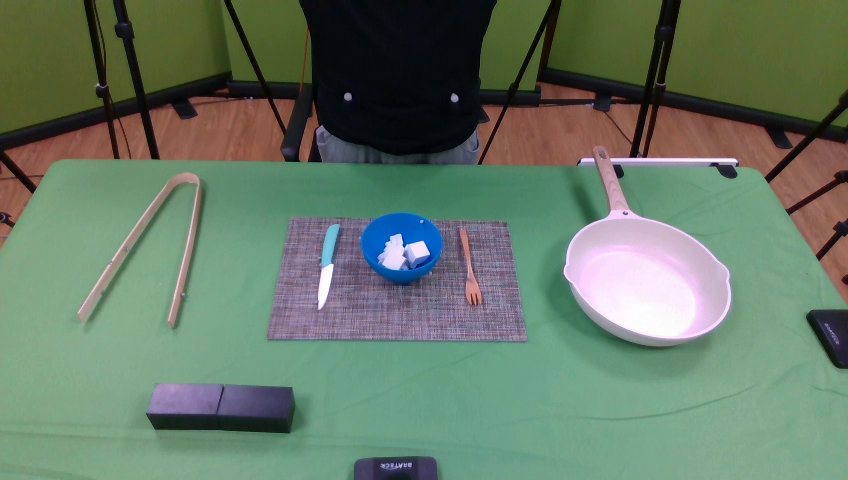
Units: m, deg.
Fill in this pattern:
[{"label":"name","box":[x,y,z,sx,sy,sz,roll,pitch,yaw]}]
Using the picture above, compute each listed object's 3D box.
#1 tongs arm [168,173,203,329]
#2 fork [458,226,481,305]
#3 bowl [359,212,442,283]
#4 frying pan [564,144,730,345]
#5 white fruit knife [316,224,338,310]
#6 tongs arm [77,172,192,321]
[{"label":"tongs arm","box":[-0.453,0.005,1.152,0.028,0.028,0.385,-5,47,-5]},{"label":"fork","box":[0.083,0.044,1.159,0.028,0.019,0.206,-7,48,0]},{"label":"bowl","box":[-0.044,0.026,1.125,0.151,0.077,0.150,2,46,-2]},{"label":"frying pan","box":[0.396,-0.008,1.179,0.307,0.103,0.484,0,55,-5]},{"label":"white fruit knife","box":[-0.185,0.047,1.137,0.027,0.016,0.206,-5,47,6]},{"label":"tongs arm","box":[-0.535,-0.002,1.147,0.051,0.026,0.382,7,45,1]}]
